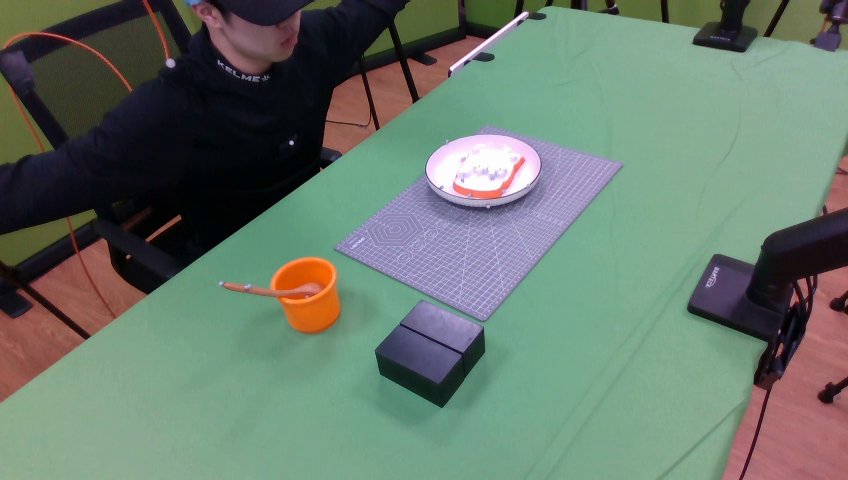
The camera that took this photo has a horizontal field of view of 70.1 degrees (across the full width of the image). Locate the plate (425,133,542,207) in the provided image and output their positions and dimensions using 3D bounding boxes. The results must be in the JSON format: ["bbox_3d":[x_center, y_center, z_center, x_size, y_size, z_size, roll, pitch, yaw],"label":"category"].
[{"bbox_3d":[0.106,-0.121,1.079,0.209,0.038,0.208,-4,41,4],"label":"plate"}]

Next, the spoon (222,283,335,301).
[{"bbox_3d":[-0.188,0.070,0.810,0.041,0.021,0.195,29,12,33],"label":"spoon"}]

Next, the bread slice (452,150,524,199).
[{"bbox_3d":[0.112,-0.118,1.079,0.104,0.019,0.131,11,43,21],"label":"bread slice"}]
